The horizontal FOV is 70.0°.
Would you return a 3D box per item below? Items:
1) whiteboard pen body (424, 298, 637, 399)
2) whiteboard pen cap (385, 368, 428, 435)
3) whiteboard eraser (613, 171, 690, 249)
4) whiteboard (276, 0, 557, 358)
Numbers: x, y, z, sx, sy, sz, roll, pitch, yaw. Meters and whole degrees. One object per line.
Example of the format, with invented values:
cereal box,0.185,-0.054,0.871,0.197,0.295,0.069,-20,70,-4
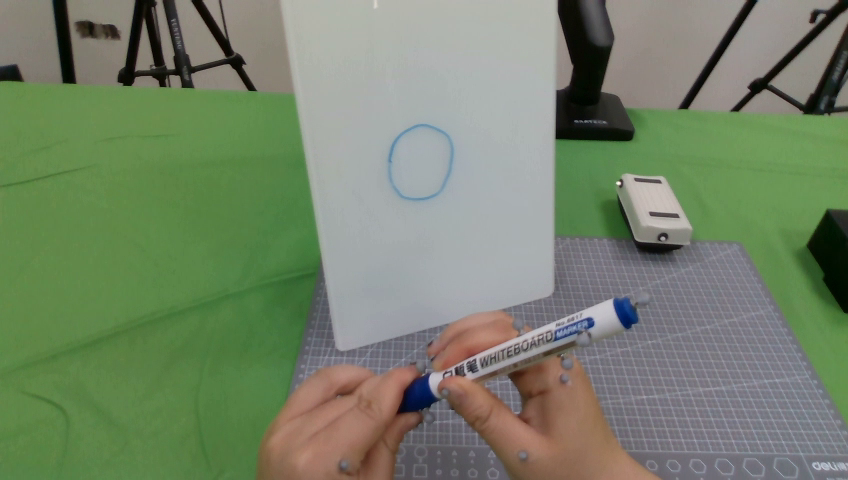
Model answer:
whiteboard pen body,0.041,0.061,0.308,0.140,0.017,0.017,-29,30,28
whiteboard pen cap,-0.009,0.088,0.332,0.018,0.033,0.018,20,3,-1
whiteboard eraser,0.247,-0.033,0.667,0.055,0.042,0.111,2,37,1
whiteboard,-0.010,-0.084,0.552,0.218,0.307,0.142,-12,23,-16
